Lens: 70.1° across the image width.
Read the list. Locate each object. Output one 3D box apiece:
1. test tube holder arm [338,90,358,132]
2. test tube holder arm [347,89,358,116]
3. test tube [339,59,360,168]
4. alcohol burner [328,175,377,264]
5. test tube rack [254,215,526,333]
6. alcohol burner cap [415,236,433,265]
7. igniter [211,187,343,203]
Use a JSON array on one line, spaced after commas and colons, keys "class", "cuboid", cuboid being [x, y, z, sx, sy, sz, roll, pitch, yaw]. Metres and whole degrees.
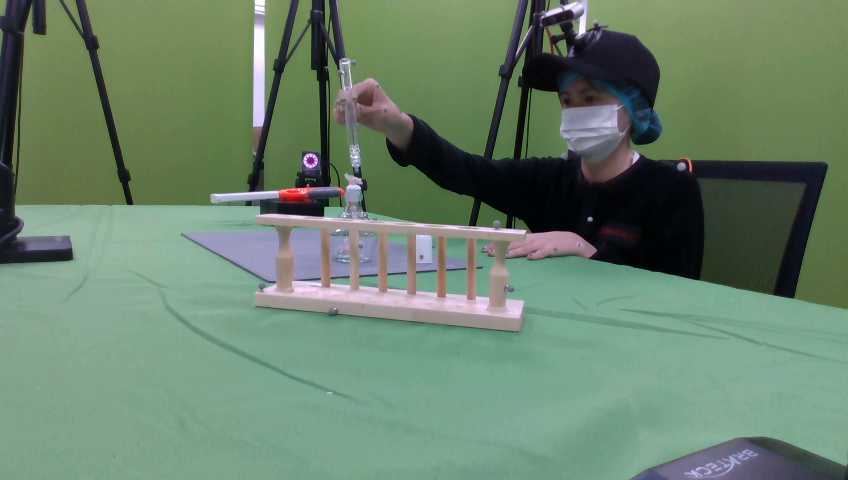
[{"class": "test tube holder arm", "cuboid": [-0.110, -0.187, 0.886, 0.013, 0.015, 0.178, -4, -3, -3]}, {"class": "test tube holder arm", "cuboid": [-0.100, -0.190, 0.842, 0.010, 0.015, 0.087, -4, -3, -10]}, {"class": "test tube", "cuboid": [-0.101, -0.171, 0.817, 0.017, 0.150, 0.017, -6, -6, 0]}, {"class": "alcohol burner", "cuboid": [-0.098, -0.028, 0.819, 0.078, 0.119, 0.078, 1, 8, 0]}, {"class": "test tube rack", "cuboid": [-0.030, 0.025, 0.557, 0.242, 0.085, 0.067, 4, 7, 12]}, {"class": "alcohol burner cap", "cuboid": [-0.004, 0.011, 0.835, 0.034, 0.048, 0.034, 2, 7, 0]}, {"class": "igniter", "cuboid": [-0.300, -0.095, 1.266, 0.278, 0.025, 0.057, -6, 12, -34]}]
